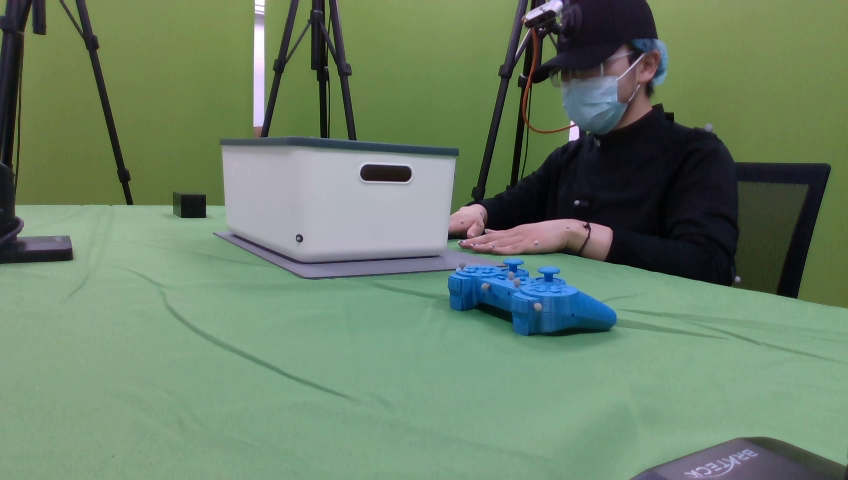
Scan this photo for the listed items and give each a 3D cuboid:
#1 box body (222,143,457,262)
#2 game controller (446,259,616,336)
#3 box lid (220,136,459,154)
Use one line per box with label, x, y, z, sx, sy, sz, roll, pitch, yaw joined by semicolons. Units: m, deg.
box body;-0.148;-0.073;0.956;0.255;0.160;0.362;-3;9;-33
game controller;0.091;0.048;0.562;0.097;0.051;0.154;-7;10;-32
box lid;-0.145;-0.145;0.944;0.265;0.015;0.369;-2;9;-33
